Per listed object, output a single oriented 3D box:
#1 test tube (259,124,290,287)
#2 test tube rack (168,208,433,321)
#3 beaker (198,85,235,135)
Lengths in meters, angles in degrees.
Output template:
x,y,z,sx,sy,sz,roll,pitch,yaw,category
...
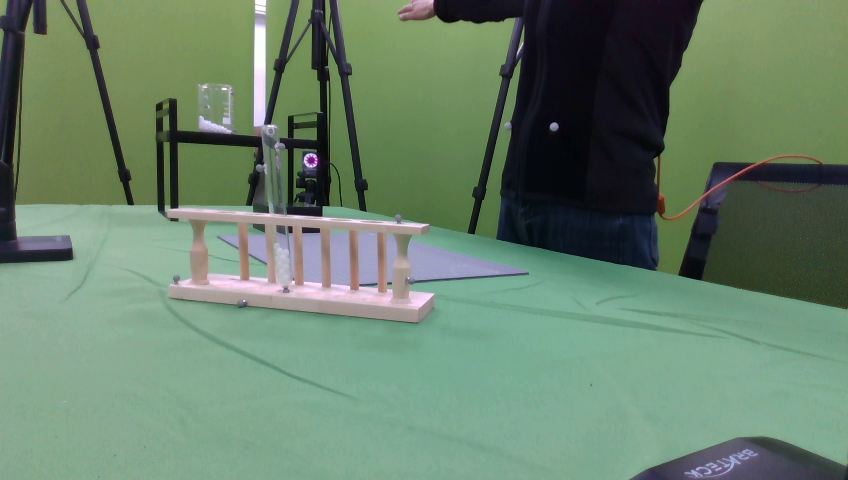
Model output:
x,y,z,sx,sy,sz,roll,pitch,yaw,category
-0.137,-0.031,0.556,0.017,0.150,0.017,-4,7,1,test tube
-0.115,0.017,0.574,0.242,0.085,0.067,4,8,13,test tube rack
-0.439,-0.273,1.275,0.074,0.100,0.084,5,8,19,beaker
